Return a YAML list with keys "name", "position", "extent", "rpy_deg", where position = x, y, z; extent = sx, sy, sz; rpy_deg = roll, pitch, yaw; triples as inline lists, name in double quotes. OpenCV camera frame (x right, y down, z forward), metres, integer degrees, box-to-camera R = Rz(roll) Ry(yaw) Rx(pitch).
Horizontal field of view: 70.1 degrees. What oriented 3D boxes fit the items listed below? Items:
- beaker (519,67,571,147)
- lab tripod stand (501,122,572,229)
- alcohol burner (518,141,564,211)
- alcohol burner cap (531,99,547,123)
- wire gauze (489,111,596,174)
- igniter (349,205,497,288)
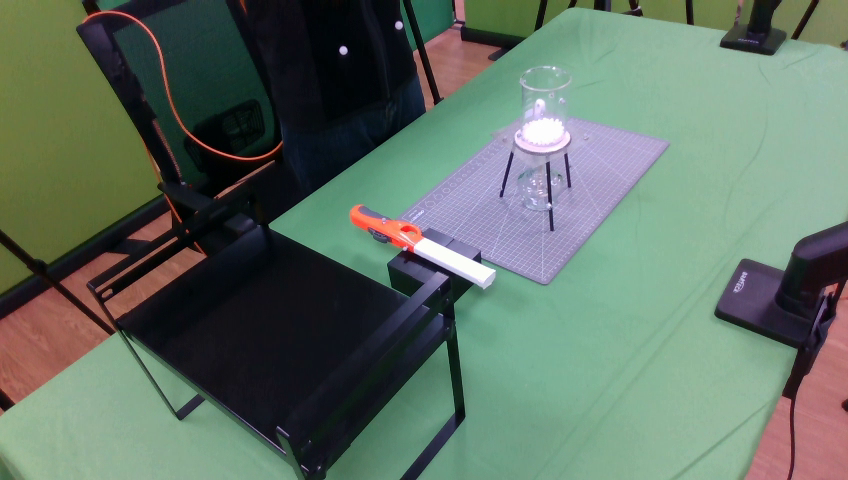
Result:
- name: "beaker"
  position: [0.184, -0.201, 0.917]
  extent: [0.073, 0.101, 0.084]
  rpy_deg: [26, 51, 31]
- name: "lab tripod stand"
  position: [0.194, -0.110, 0.985]
  extent: [0.148, 0.132, 0.147]
  rpy_deg: [-3, 42, 3]
- name: "alcohol burner"
  position: [0.193, -0.109, 0.999]
  extent: [0.078, 0.119, 0.077]
  rpy_deg: [-5, 38, 5]
- name: "alcohol burner cap"
  position: [0.234, -0.264, 1.231]
  extent: [0.034, 0.048, 0.033]
  rpy_deg: [-5, 41, 5]
- name: "wire gauze"
  position: [0.183, -0.159, 0.943]
  extent: [0.122, 0.011, 0.124]
  rpy_deg: [-25, 47, -17]
- name: "igniter"
  position: [-0.013, 0.004, 0.897]
  extent: [0.274, 0.025, 0.057]
  rpy_deg: [25, 45, 32]
